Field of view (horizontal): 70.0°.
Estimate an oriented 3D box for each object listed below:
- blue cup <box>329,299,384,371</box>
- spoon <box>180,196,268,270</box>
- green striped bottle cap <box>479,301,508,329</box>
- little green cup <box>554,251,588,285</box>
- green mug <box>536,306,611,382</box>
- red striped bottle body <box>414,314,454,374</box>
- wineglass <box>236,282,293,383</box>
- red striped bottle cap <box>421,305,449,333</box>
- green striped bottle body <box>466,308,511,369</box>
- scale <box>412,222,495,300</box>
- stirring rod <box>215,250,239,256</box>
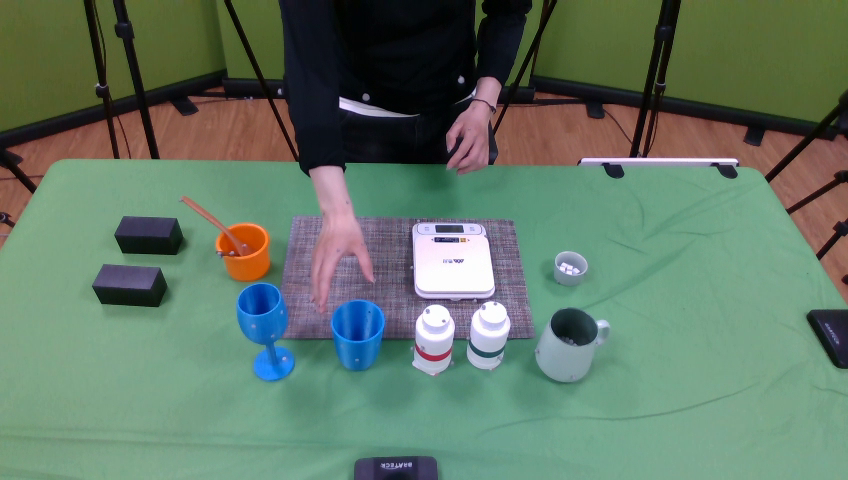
[{"bbox_3d":[-0.108,0.160,0.979,0.093,0.101,0.092,3,45,-3],"label":"blue cup"},{"bbox_3d":[-0.360,-0.014,1.094,0.021,0.194,0.041,-28,26,31],"label":"spoon"},{"bbox_3d":[0.109,0.118,0.950,0.044,0.020,0.044,2,46,-2],"label":"green striped bottle cap"},{"bbox_3d":[0.277,0.055,1.151,0.061,0.039,0.061,1,46,-1],"label":"little green cup"},{"bbox_3d":[0.250,0.167,0.996,0.125,0.105,0.092,-15,48,-19],"label":"green mug"},{"bbox_3d":[0.016,0.158,0.977,0.063,0.120,0.062,1,46,-1],"label":"red striped bottle body"},{"bbox_3d":[-0.243,0.143,0.934,0.074,0.173,0.073,2,46,-2],"label":"wineglass"},{"bbox_3d":[0.018,0.122,0.938,0.044,0.018,0.044,3,44,-2],"label":"red striped bottle cap"},{"bbox_3d":[0.105,0.154,0.988,0.063,0.120,0.063,2,46,-2],"label":"green striped bottle body"},{"bbox_3d":[0.052,0.031,1.158,0.149,0.032,0.199,1,45,-4],"label":"scale"},{"bbox_3d":[-0.340,0.024,1.059,0.014,0.176,0.006,17,86,-6],"label":"stirring rod"}]
